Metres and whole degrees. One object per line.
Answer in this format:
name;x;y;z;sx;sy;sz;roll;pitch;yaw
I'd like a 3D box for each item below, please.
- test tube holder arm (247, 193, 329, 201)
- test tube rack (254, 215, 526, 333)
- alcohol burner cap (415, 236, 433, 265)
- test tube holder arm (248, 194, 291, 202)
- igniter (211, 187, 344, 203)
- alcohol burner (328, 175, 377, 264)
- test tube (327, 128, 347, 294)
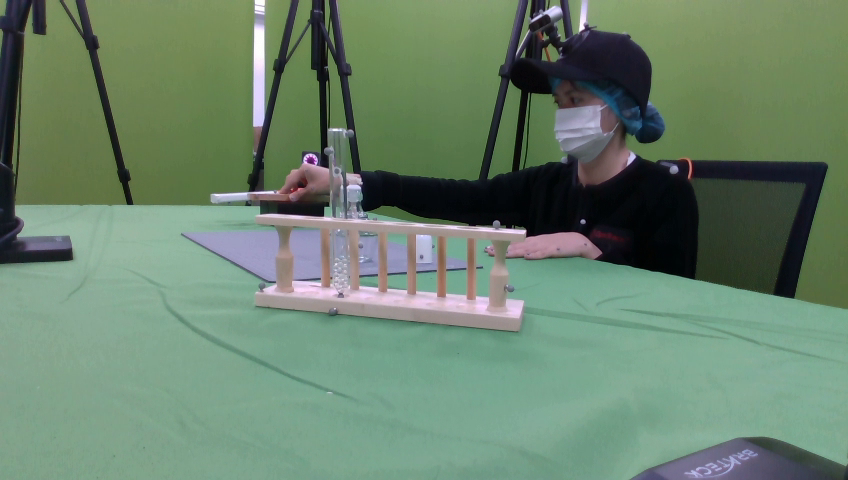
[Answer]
test tube holder arm;-0.275;-0.087;1.238;0.179;0.015;0.013;-4;22;-41
test tube rack;-0.030;0.025;0.558;0.242;0.085;0.067;4;7;12
alcohol burner cap;-0.004;0.011;0.835;0.034;0.048;0.034;2;7;0
test tube holder arm;-0.307;-0.083;1.205;0.088;0.015;0.010;-3;22;-39
igniter;-0.299;-0.094;1.266;0.278;0.025;0.057;-6;11;-34
alcohol burner;-0.098;-0.028;0.819;0.078;0.119;0.078;1;8;0
test tube;-0.079;-0.025;0.545;0.017;0.150;0.017;0;9;0
